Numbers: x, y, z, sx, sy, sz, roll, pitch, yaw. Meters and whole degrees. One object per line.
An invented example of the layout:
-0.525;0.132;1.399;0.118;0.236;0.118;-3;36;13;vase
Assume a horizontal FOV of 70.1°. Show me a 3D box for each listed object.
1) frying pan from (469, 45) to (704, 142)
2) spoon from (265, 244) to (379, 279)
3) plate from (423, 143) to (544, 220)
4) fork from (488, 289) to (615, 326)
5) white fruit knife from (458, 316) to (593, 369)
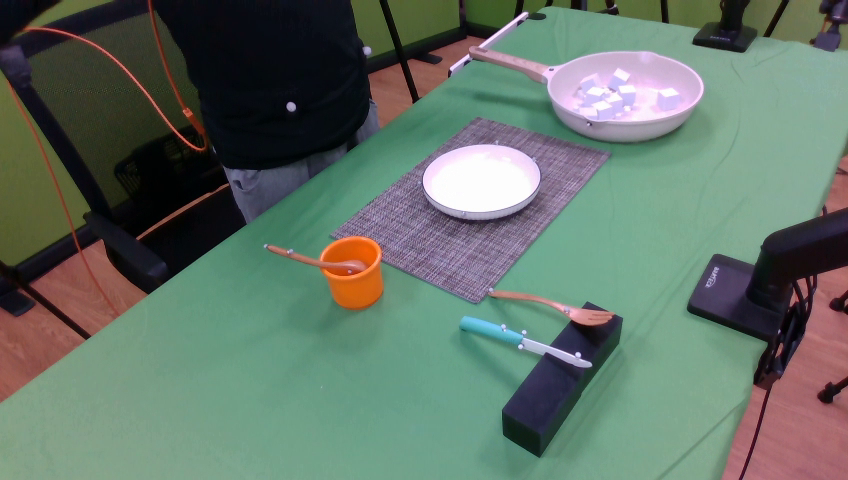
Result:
0.307;-0.326;1.239;0.485;0.103;0.307;26;49;22;frying pan
-0.137;0.031;0.846;0.195;0.021;0.041;13;17;-44;spoon
0.102;-0.097;1.048;0.207;0.039;0.206;-4;40;4;plate
0.160;0.086;0.800;0.205;0.019;0.028;12;48;48;fork
0.120;0.127;0.757;0.205;0.027;0.016;12;44;43;white fruit knife
